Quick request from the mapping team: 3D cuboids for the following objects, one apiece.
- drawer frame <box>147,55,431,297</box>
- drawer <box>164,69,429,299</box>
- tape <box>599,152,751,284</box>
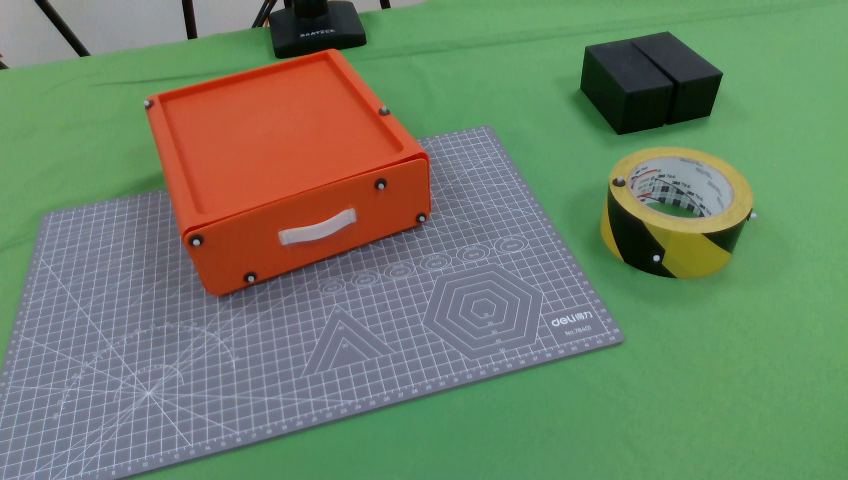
[{"bbox_3d":[-0.129,-0.071,0.555,0.202,0.083,0.211,-21,46,-17],"label":"drawer frame"},{"bbox_3d":[-0.126,-0.066,0.553,0.195,0.074,0.209,-21,46,-16],"label":"drawer"},{"bbox_3d":[0.207,-0.022,0.509,0.117,0.053,0.115,-1,44,2],"label":"tape"}]
